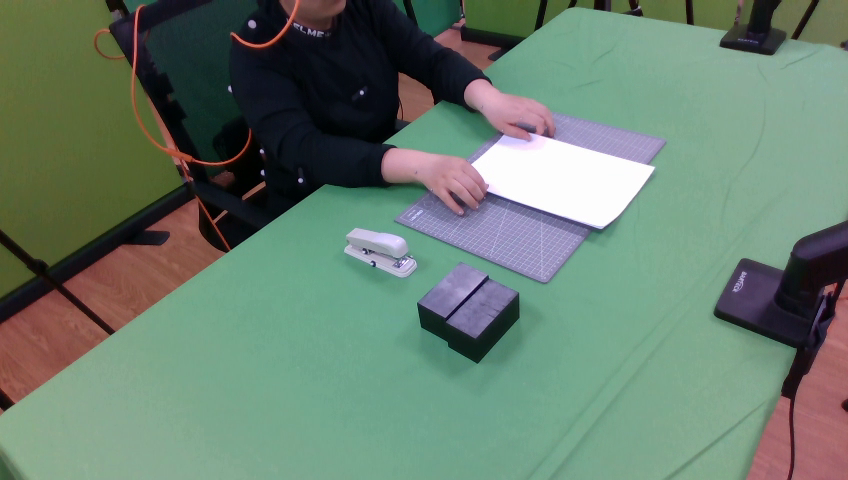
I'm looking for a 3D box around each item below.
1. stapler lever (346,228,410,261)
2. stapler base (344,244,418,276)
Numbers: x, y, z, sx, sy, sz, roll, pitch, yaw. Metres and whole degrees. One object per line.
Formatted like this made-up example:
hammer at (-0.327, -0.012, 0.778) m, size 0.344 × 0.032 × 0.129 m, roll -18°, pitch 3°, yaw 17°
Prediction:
stapler lever at (-0.074, 0.001, 0.950) m, size 0.117 × 0.040 × 0.027 m, roll 20°, pitch 45°, yaw 30°
stapler base at (-0.070, 0.020, 0.964) m, size 0.129 × 0.024 × 0.041 m, roll 19°, pitch 44°, yaw 31°
